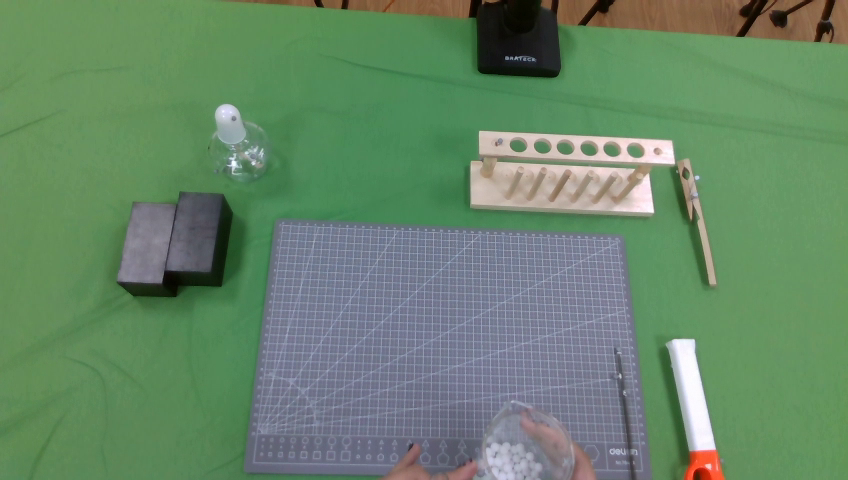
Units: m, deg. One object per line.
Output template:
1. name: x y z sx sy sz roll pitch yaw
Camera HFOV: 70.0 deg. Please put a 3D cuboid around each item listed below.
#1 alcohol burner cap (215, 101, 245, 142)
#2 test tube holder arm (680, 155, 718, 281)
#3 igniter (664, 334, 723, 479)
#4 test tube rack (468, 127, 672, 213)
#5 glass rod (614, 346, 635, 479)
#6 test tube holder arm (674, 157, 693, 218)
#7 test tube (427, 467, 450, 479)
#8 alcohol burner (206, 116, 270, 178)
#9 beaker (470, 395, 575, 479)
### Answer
1. alcohol burner cap: -0.228 -0.142 0.708 0.034 0.048 0.033 4 62 -8
2. test tube holder arm: 0.363 -0.031 0.802 0.013 0.015 0.177 -17 66 27
3. igniter: 0.313 0.243 0.686 0.057 0.025 0.274 3 67 -14
4. test tube rack: 0.183 -0.088 0.775 0.243 0.085 0.066 2 68 -4
5. glass rod: 0.232 0.220 0.694 0.008 0.008 0.198 2 68 -4
6. test tube holder arm: 0.354 -0.072 0.821 0.010 0.015 0.087 -17 67 27
7. test tube: 0.024 0.220 0.485 0.017 0.152 0.017 -8 45 8
8. alcohol burner: -0.231 -0.126 0.741 0.078 0.120 0.077 1 66 -2
9. beaker: 0.078 0.189 0.525 0.074 0.101 0.083 -10 58 -11
